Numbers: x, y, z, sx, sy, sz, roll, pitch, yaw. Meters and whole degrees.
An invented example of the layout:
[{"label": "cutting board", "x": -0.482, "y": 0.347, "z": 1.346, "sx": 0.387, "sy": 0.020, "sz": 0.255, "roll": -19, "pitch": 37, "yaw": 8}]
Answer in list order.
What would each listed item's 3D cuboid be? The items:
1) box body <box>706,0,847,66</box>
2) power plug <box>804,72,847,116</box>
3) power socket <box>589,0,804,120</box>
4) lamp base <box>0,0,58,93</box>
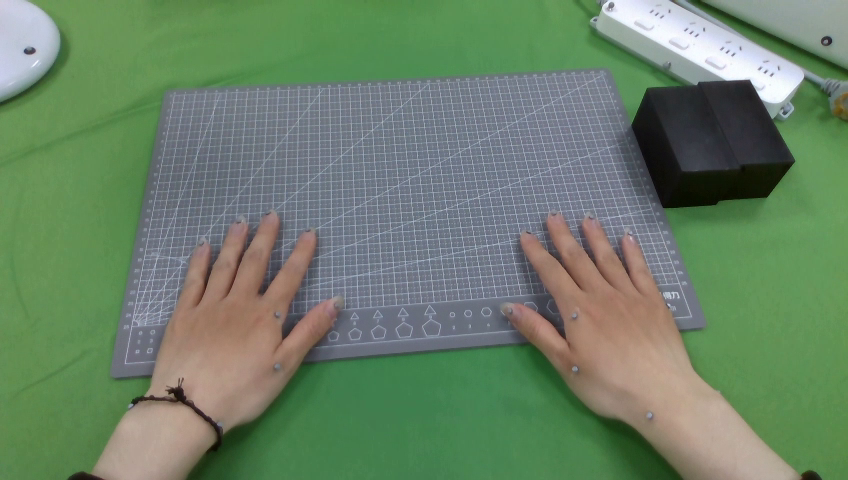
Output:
[{"label": "box body", "x": 0.486, "y": -0.320, "z": 0.636, "sx": 0.361, "sy": 0.162, "sz": 0.253, "roll": 36, "pitch": 63, "yaw": 20}, {"label": "power plug", "x": 0.408, "y": -0.143, "z": 0.605, "sx": 0.053, "sy": 0.035, "sz": 0.072, "roll": -28, "pitch": 30, "yaw": -29}, {"label": "power socket", "x": 0.280, "y": -0.200, "z": 0.630, "sx": 0.225, "sy": 0.033, "sz": 0.072, "roll": 39, "pitch": 64, "yaw": 22}, {"label": "lamp base", "x": -0.460, "y": -0.246, "z": 0.548, "sx": 0.160, "sy": 0.182, "sz": 0.177, "roll": -32, "pitch": 61, "yaw": -20}]
